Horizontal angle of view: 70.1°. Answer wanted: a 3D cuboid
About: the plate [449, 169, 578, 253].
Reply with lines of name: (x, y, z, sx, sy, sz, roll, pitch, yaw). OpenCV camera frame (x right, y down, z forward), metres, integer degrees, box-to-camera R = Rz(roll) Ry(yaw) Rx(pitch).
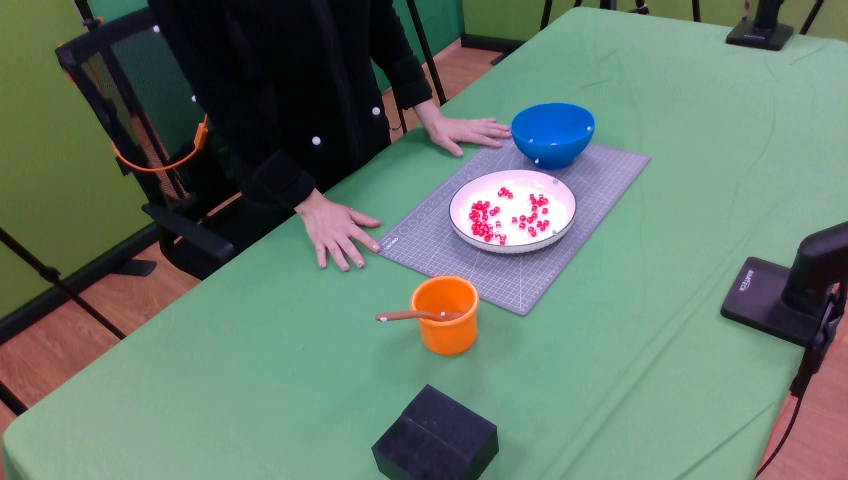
plate: (0.146, -0.044, 0.994, 0.209, 0.038, 0.208, -5, 40, 5)

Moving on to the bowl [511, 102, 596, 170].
bowl: (0.236, -0.182, 1.107, 0.151, 0.077, 0.150, -6, 40, 5)

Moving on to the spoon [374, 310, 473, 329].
spoon: (0.002, 0.099, 0.771, 0.041, 0.195, 0.021, 26, 96, 37)
